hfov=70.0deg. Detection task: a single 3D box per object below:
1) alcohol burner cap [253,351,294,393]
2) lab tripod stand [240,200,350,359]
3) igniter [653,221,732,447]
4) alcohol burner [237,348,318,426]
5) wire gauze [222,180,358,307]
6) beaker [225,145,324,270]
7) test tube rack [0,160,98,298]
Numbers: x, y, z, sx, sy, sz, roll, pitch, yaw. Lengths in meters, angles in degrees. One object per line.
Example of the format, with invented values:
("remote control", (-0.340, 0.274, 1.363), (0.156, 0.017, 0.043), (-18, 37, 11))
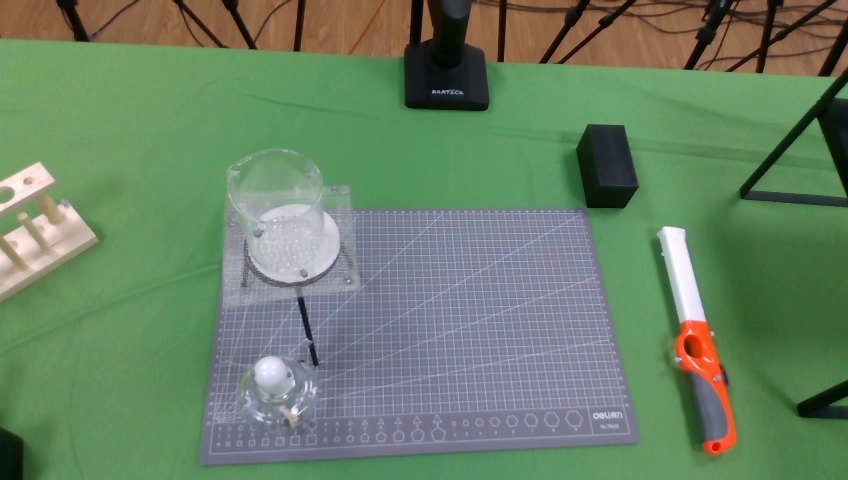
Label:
("alcohol burner cap", (-0.138, 0.118, 0.549), (0.034, 0.048, 0.033), (1, 65, -1))
("lab tripod stand", (-0.131, 0.035, 0.628), (0.148, 0.132, 0.147), (4, 60, -6))
("igniter", (0.309, 0.099, 0.704), (0.057, 0.025, 0.274), (8, 59, -14))
("alcohol burner", (-0.142, 0.135, 0.580), (0.078, 0.120, 0.077), (4, 58, -6))
("wire gauze", (-0.128, -0.002, 0.574), (0.122, 0.011, 0.124), (-6, 65, -8))
("beaker", (-0.128, -0.025, 0.530), (0.084, 0.101, 0.073), (22, 60, 6))
("test tube rack", (-0.482, 0.024, 0.626), (0.242, 0.086, 0.066), (-39, 71, -24))
